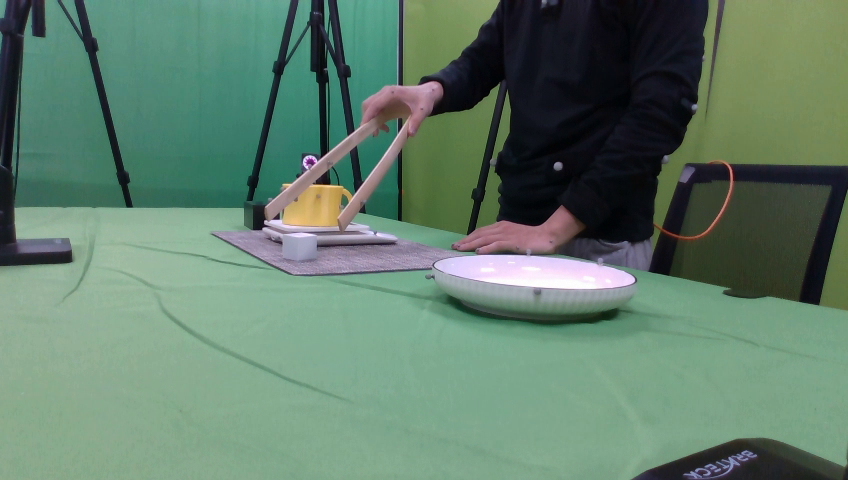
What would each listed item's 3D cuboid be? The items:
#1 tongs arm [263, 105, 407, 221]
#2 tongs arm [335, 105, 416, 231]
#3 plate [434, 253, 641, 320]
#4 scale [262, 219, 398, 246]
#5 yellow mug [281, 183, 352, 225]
[{"bbox_3d":[-0.123,-0.134,0.957,0.050,0.026,0.385,7,35,21],"label":"tongs arm"},{"bbox_3d":[-0.066,-0.126,0.937,0.028,0.028,0.387,0,33,17],"label":"tongs arm"},{"bbox_3d":[0.114,0.047,0.626,0.208,0.039,0.207,2,7,0],"label":"plate"},{"bbox_3d":[-0.160,-0.016,1.028,0.202,0.031,0.148,-2,9,-31],"label":"scale"},{"bbox_3d":[-0.172,-0.061,1.009,0.131,0.064,0.099,-2,8,-41],"label":"yellow mug"}]
